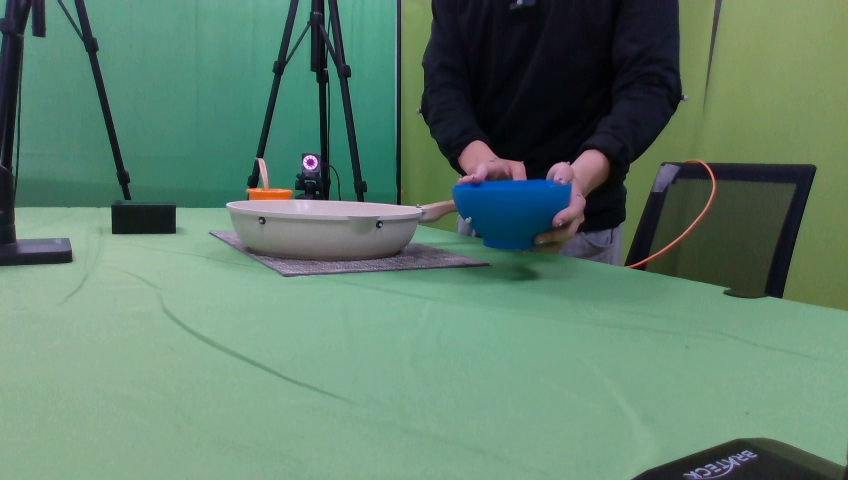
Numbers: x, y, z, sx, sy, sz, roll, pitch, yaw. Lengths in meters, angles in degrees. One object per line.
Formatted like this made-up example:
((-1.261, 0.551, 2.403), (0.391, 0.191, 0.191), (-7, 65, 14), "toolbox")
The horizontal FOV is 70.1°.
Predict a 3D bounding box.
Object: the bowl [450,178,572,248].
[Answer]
((0.110, -0.035, 0.760), (0.151, 0.077, 0.151), (-3, 9, 1), "bowl")

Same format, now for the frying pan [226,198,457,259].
((-0.058, -0.041, 0.975), (0.490, 0.102, 0.305), (-11, 13, -26), "frying pan")

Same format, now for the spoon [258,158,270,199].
((-0.332, -0.107, 1.269), (0.042, 0.021, 0.193), (1, 52, -24), "spoon")

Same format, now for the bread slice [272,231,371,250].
((-0.148, 0.001, 0.929), (0.133, 0.018, 0.107), (5, 8, 38), "bread slice")
